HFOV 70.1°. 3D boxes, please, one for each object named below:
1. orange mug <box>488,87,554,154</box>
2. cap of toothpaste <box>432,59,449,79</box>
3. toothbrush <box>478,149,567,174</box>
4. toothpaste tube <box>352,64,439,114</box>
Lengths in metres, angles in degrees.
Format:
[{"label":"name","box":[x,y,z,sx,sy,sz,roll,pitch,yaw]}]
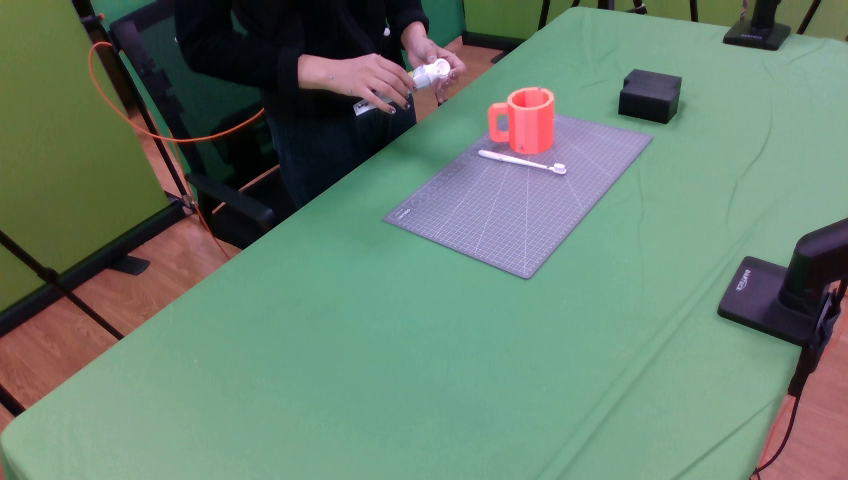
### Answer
[{"label":"orange mug","box":[0.185,-0.227,1.151,0.126,0.101,0.083,0,41,5]},{"label":"cap of toothpaste","box":[0.030,-0.306,1.078,0.037,0.037,0.011,-27,8,-19]},{"label":"toothbrush","box":[0.179,-0.149,1.122,0.180,0.017,0.014,18,63,30]},{"label":"toothpaste tube","box":[-0.049,-0.266,1.058,0.165,0.035,0.054,-25,30,0]}]
